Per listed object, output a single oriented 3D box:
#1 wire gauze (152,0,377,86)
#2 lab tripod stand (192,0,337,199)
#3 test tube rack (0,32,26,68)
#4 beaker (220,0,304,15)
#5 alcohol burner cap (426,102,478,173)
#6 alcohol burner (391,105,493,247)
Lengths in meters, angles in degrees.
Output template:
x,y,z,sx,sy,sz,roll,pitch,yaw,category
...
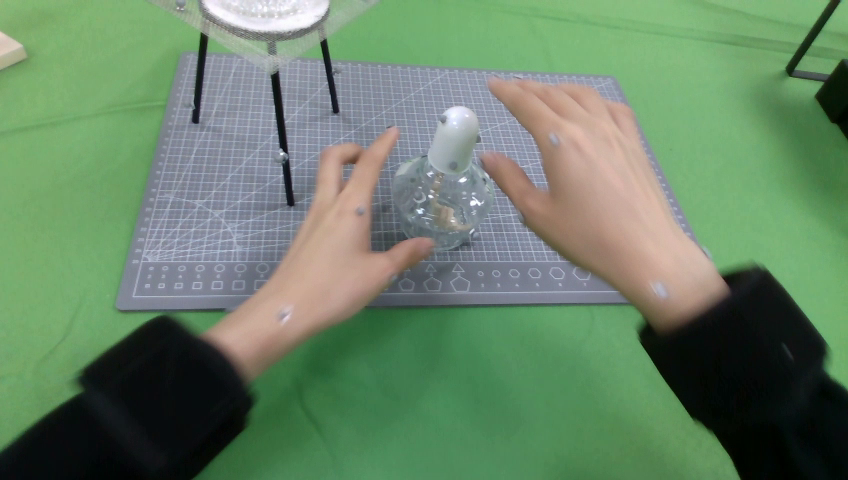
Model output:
x,y,z,sx,sy,sz,roll,pitch,yaw,category
-0.112,-0.168,0.421,0.124,0.011,0.121,33,55,12,wire gauze
-0.118,-0.127,0.471,0.149,0.132,0.147,6,50,-7,lab tripod stand
-0.448,-0.138,0.456,0.066,0.086,0.241,31,52,15,test tube rack
-0.109,-0.204,0.387,0.073,0.101,0.084,38,56,19,beaker
0.021,-0.072,0.417,0.034,0.048,0.033,6,53,-7,alcohol burner cap
0.016,-0.051,0.445,0.078,0.120,0.077,6,48,-7,alcohol burner
